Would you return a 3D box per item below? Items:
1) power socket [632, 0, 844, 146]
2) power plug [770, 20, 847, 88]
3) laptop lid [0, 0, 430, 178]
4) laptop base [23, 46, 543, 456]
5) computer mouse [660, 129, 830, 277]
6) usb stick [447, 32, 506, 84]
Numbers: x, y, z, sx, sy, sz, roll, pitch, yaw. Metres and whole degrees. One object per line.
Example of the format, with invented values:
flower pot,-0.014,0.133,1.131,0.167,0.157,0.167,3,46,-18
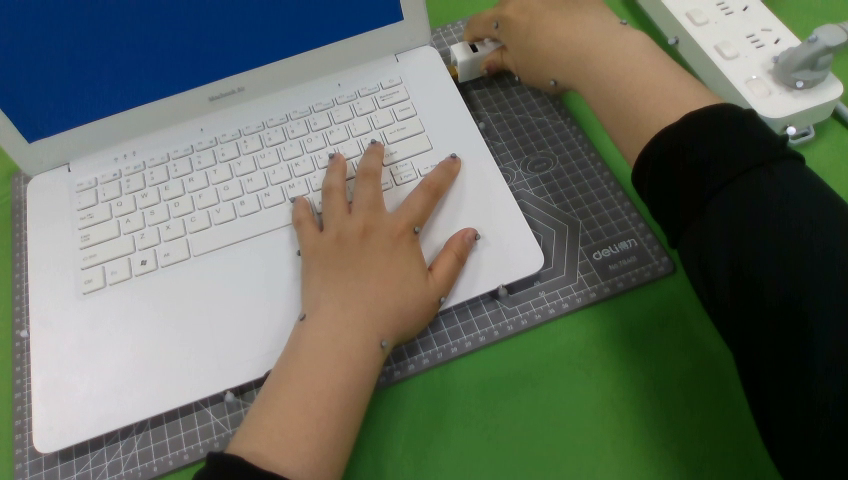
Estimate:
power socket,0.243,-0.168,0.493,0.072,0.033,0.224,-20,59,-3
power plug,0.291,-0.130,0.440,0.072,0.053,0.035,-10,62,0
laptop lid,-0.179,-0.184,0.426,0.357,0.244,0.013,-21,47,-4
laptop base,-0.118,-0.012,0.455,0.354,0.023,0.233,-20,63,-5
computer mouse,0.217,-0.032,0.415,0.063,0.041,0.116,-22,57,-4
usb stick,0.037,-0.148,0.500,0.059,0.027,0.021,-22,54,-3
